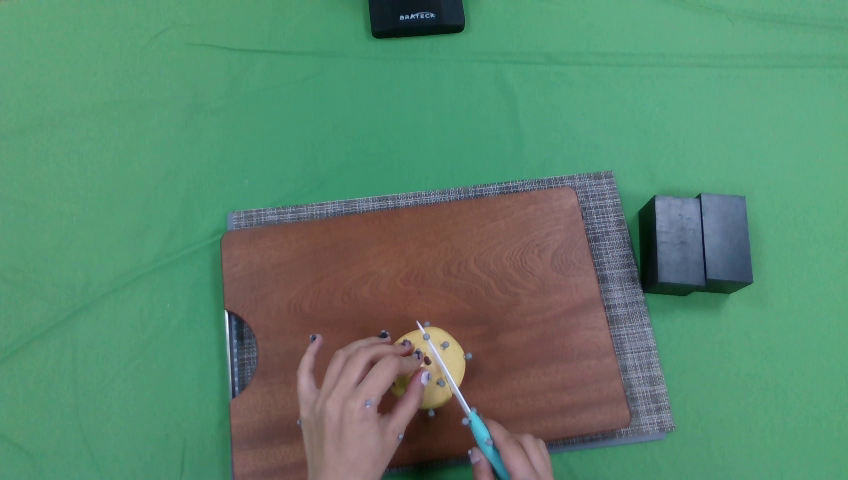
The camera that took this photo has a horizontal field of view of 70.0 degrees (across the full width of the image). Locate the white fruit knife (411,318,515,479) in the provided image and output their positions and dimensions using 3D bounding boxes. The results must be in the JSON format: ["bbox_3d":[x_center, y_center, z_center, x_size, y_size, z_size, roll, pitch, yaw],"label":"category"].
[{"bbox_3d":[0.039,0.159,0.540,0.016,0.027,0.207,-31,94,-17],"label":"white fruit knife"}]

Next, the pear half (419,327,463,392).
[{"bbox_3d":[0.019,0.111,0.588,0.031,0.088,0.070,-30,70,-11],"label":"pear half"}]

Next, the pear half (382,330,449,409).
[{"bbox_3d":[-0.011,0.125,0.572,0.056,0.110,0.076,-30,72,-10],"label":"pear half"}]
